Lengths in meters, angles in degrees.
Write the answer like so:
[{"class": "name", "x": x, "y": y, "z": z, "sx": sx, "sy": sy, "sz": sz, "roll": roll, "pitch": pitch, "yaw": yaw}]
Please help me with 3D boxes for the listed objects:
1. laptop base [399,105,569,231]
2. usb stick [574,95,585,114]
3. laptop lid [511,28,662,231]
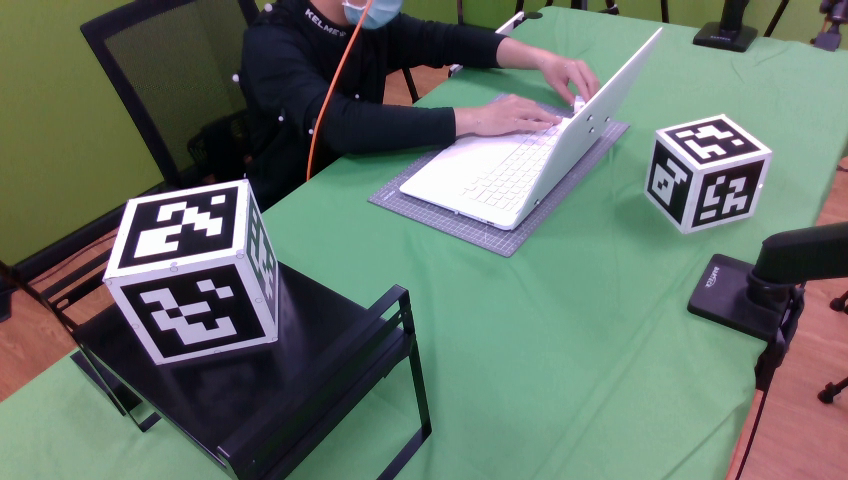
[{"class": "laptop base", "x": 0.149, "y": -0.147, "z": 1.123, "sx": 0.233, "sy": 0.023, "sz": 0.355, "roll": 20, "pitch": 47, "yaw": 32}, {"class": "usb stick", "x": 0.312, "y": -0.267, "z": 1.217, "sx": 0.021, "sy": 0.027, "sz": 0.059, "roll": 2, "pitch": 42, "yaw": 14}, {"class": "laptop lid", "x": 0.265, "y": -0.179, "z": 0.972, "sx": 0.013, "sy": 0.242, "sz": 0.357, "roll": 36, "pitch": 53, "yaw": 14}]
